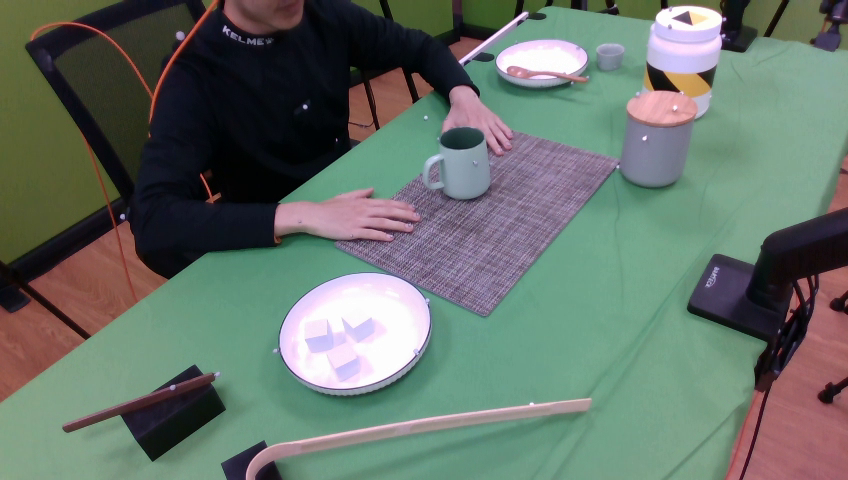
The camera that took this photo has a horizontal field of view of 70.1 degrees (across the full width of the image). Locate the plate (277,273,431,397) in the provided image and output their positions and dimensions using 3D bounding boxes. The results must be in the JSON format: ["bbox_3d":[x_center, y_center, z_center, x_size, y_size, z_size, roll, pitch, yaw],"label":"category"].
[{"bbox_3d":[-0.091,0.129,0.821,0.207,0.039,0.206,-4,40,4],"label":"plate"}]

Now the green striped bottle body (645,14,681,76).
[{"bbox_3d":[0.520,-0.424,1.312,0.063,0.120,0.063,-4,41,4],"label":"green striped bottle body"}]

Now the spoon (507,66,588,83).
[{"bbox_3d":[0.265,-0.357,1.311,0.192,0.022,0.042,18,48,38],"label":"spoon"}]

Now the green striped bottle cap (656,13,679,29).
[{"bbox_3d":[0.515,-0.463,1.278,0.044,0.020,0.044,-6,42,6],"label":"green striped bottle cap"}]

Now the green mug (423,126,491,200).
[{"bbox_3d":[0.055,-0.125,1.039,0.126,0.105,0.091,-25,44,-19],"label":"green mug"}]

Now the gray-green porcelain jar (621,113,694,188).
[{"bbox_3d":[0.390,-0.161,1.020,0.106,0.127,0.105,-4,41,4],"label":"gray-green porcelain jar"}]

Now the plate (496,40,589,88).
[{"bbox_3d":[0.268,-0.398,1.381,0.209,0.038,0.208,-4,41,4],"label":"plate"}]

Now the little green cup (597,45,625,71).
[{"bbox_3d":[0.422,-0.413,1.375,0.061,0.039,0.061,-3,41,3],"label":"little green cup"}]

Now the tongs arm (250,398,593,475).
[{"bbox_3d":[0.008,0.212,0.675,0.389,0.028,0.028,-5,46,-11],"label":"tongs arm"}]

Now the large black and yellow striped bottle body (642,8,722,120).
[{"bbox_3d":[0.493,-0.334,1.161,0.131,0.185,0.130,-4,41,4],"label":"large black and yellow striped bottle body"}]

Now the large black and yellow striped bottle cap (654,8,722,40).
[{"bbox_3d":[0.483,-0.397,1.108,0.115,0.019,0.114,-3,41,3],"label":"large black and yellow striped bottle cap"}]

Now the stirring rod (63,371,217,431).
[{"bbox_3d":[-0.337,0.192,0.723,0.177,0.014,0.005,-18,42,-12],"label":"stirring rod"}]

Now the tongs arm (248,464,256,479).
[{"bbox_3d":[0.012,0.262,0.615,0.385,0.026,0.050,2,42,-2],"label":"tongs arm"}]

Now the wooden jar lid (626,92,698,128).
[{"bbox_3d":[0.384,-0.207,0.980,0.108,0.021,0.108,-6,39,5],"label":"wooden jar lid"}]
